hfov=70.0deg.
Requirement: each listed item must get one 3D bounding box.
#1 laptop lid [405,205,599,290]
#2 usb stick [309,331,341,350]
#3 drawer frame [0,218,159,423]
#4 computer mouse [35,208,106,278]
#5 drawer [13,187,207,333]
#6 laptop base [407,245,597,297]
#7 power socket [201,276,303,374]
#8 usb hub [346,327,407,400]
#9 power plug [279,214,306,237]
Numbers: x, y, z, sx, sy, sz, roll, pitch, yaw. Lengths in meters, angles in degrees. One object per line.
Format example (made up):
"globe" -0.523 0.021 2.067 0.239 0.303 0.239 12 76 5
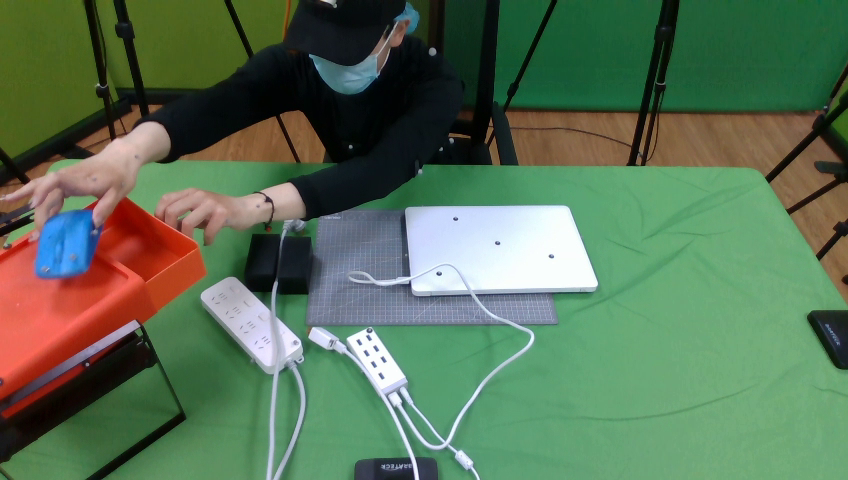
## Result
"laptop lid" 0.143 0.008 1.189 0.357 0.013 0.240 0 44 -5
"usb stick" -0.172 0.167 1.020 0.059 0.021 0.027 11 3 25
"drawer frame" -0.500 0.091 0.783 0.201 0.083 0.213 27 51 20
"computer mouse" -0.454 -0.001 0.778 0.063 0.041 0.116 -6 46 -7
"drawer" -0.449 0.041 0.836 0.194 0.073 0.211 30 51 22
"laptop base" 0.143 0.018 1.196 0.355 0.023 0.234 -1 43 -6
"power socket" -0.296 0.141 1.034 0.225 0.033 0.072 38 55 27
"usb hub" -0.078 0.202 0.998 0.049 0.025 0.124 -23 53 -24
"power plug" -0.260 -0.021 1.184 0.035 0.053 0.072 13 55 33
